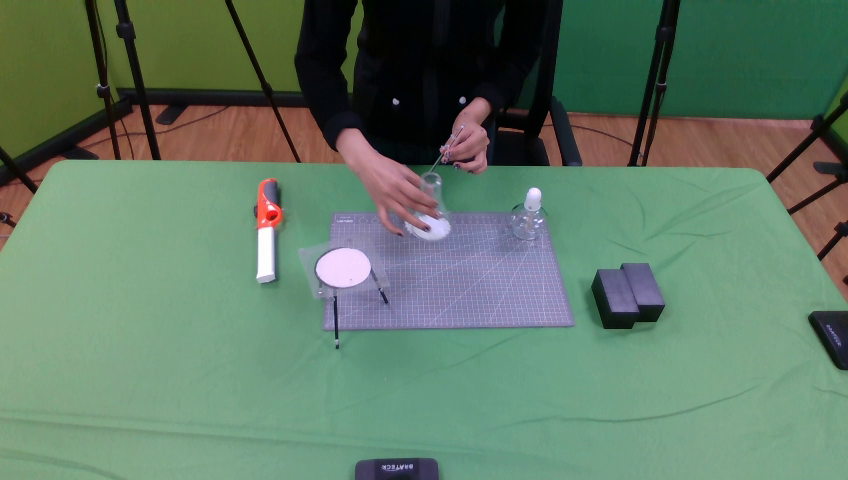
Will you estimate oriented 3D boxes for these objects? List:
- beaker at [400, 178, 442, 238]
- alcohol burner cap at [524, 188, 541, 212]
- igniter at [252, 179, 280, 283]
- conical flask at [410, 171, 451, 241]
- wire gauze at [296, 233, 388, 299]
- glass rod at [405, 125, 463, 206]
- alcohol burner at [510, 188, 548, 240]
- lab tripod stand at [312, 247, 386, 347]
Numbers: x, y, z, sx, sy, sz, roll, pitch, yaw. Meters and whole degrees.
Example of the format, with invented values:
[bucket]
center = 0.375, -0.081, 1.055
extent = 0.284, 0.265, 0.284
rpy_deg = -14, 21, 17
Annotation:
[beaker]
center = -0.009, -0.059, 1.200
extent = 0.084, 0.101, 0.073
rpy_deg = -14, 48, -17
[alcohol burner cap]
center = 0.212, -0.081, 1.177
extent = 0.034, 0.048, 0.033
rpy_deg = -2, 54, 3
[igniter]
center = -0.312, -0.027, 1.197
extent = 0.057, 0.025, 0.274
rpy_deg = -12, 47, -2
[conical flask]
center = 0.010, -0.063, 1.063
extent = 0.075, 0.122, 0.075
rpy_deg = -1, 45, 1
[wire gauze]
center = -0.133, 0.041, 0.977
extent = 0.125, 0.011, 0.120
rpy_deg = -12, 47, -16
[glass rod]
center = 0.016, -0.138, 1.137
extent = 0.008, 0.200, 0.008
rpy_deg = 27, 32, -18
[alcohol burner]
center = 0.211, -0.057, 1.204
extent = 0.078, 0.120, 0.077
rpy_deg = 1, 47, -1
[lab tripod stand]
center = -0.134, 0.085, 1.028
extent = 0.148, 0.132, 0.147
rpy_deg = 2, 45, -1
